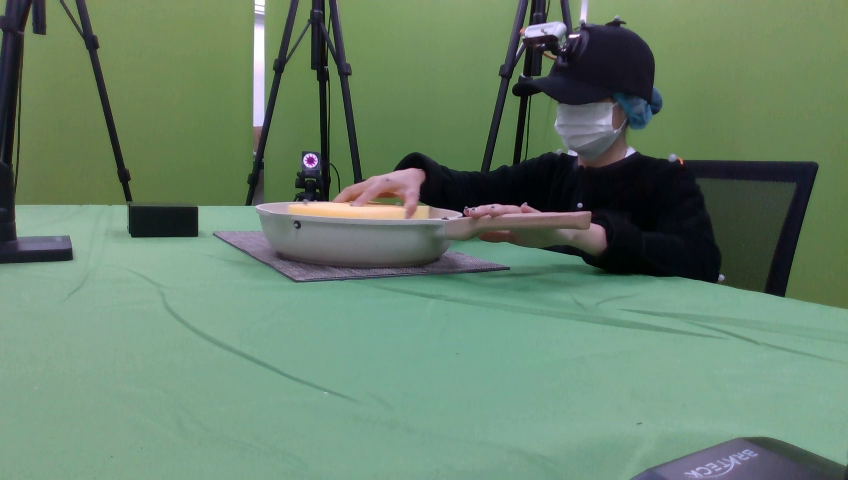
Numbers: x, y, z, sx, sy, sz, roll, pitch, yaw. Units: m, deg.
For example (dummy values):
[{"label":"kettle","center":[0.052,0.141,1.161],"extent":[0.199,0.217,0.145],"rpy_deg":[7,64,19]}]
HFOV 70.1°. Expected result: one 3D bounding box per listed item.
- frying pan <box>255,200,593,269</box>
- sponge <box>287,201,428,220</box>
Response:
[{"label":"frying pan","center":[-0.011,-0.016,0.802],"extent":[0.485,0.102,0.308],"rpy_deg":[-2,4,39]},{"label":"sponge","center":[-0.089,-0.019,0.873],"extent":[0.118,0.061,0.207],"rpy_deg":[7,8,23]}]
